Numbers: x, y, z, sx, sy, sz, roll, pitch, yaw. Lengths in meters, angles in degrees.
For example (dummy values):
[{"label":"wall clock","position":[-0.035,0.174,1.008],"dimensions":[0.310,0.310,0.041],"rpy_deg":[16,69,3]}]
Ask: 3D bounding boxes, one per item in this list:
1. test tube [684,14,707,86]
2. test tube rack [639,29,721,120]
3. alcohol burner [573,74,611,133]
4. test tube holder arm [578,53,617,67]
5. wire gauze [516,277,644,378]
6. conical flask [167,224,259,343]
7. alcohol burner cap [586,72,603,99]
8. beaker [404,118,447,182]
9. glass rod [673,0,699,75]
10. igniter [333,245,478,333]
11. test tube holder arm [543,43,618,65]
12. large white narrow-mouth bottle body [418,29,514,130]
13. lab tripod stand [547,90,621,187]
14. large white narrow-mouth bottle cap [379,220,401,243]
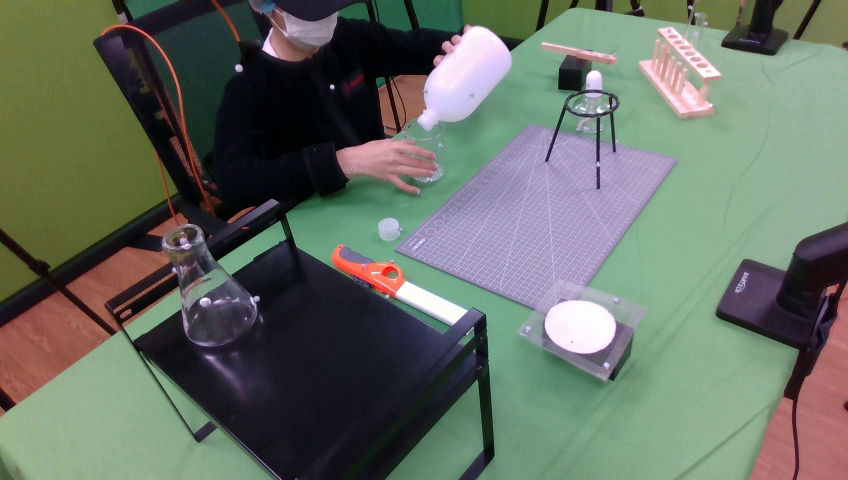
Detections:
[{"label":"test tube","position":[0.541,-0.379,1.216],"dimensions":[0.017,0.151,0.017],"rpy_deg":[-2,44,2]},{"label":"test tube rack","position":[0.527,-0.351,1.262],"dimensions":[0.067,0.085,0.241],"rpy_deg":[-8,40,1]},{"label":"alcohol burner","position":[0.330,-0.270,1.176],"dimensions":[0.078,0.119,0.077],"rpy_deg":[-4,43,4]},{"label":"test tube holder arm","position":[0.376,-0.393,1.314],"dimensions":[0.087,0.015,0.010],"rpy_deg":[26,51,32]},{"label":"wire gauze","position":[0.197,0.103,0.765],"dimensions":[0.124,0.011,0.122],"rpy_deg":[23,50,32]},{"label":"conical flask","position":[-0.220,0.041,0.613],"dimensions":[0.075,0.122,0.075],"rpy_deg":[-5,40,4]},{"label":"alcohol burner cap","position":[0.325,-0.297,1.154],"dimensions":[0.034,0.048,0.033],"rpy_deg":[-8,35,6]},{"label":"beaker","position":[0.007,-0.165,1.104],"dimensions":[0.073,0.100,0.084],"rpy_deg":[14,46,18]},{"label":"glass rod","position":[0.541,-0.427,1.246],"dimensions":[0.008,0.200,0.008],"rpy_deg":[0,48,1]},{"label":"igniter","position":[-0.038,0.068,0.905],"dimensions":[0.274,0.025,0.057],"rpy_deg":[24,60,32]},{"label":"test tube holder arm","position":[0.345,-0.413,1.340],"dimensions":[0.177,0.015,0.013],"rpy_deg":[25,50,31]},{"label":"large white narrow-mouth bottle body","position":[0.064,-0.275,1.080],"dimensions":[0.194,0.102,0.101],"rpy_deg":[-47,48,-3]},{"label":"lab tripod stand","position":[0.289,-0.184,1.062],"dimensions":[0.148,0.132,0.147],"rpy_deg":[-6,41,6]},{"label":"large white narrow-mouth bottle cap","position":[-0.057,-0.015,1.012],"dimensions":[0.038,0.024,0.037],"rpy_deg":[-4,40,4]}]
